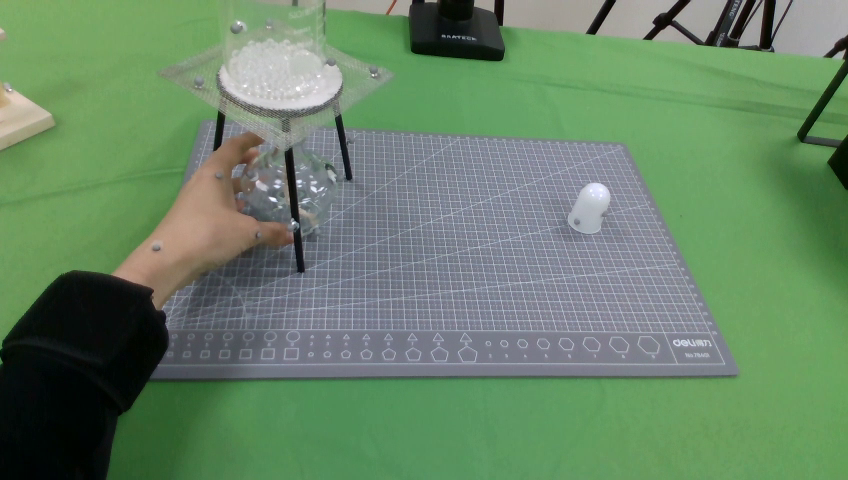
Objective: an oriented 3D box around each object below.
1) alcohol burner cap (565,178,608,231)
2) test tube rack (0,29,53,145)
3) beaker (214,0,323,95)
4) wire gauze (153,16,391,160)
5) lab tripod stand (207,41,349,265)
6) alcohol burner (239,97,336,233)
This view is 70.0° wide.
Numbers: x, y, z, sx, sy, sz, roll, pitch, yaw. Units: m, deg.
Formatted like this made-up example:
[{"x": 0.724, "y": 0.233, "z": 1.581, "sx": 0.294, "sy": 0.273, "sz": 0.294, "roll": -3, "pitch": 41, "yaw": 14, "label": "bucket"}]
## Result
[{"x": 0.152, "y": -0.035, "z": 0.558, "sx": 0.034, "sy": 0.048, "sz": 0.033, "roll": 4, "pitch": 45, "yaw": -4, "label": "alcohol burner cap"}, {"x": -0.441, "y": -0.091, "z": 0.479, "sx": 0.066, "sy": 0.086, "sz": 0.242, "roll": 30, "pitch": 49, "yaw": 19, "label": "test tube rack"}, {"x": -0.104, "y": -0.154, "z": 0.402, "sx": 0.073, "sy": 0.101, "sz": 0.084, "roll": 31, "pitch": 50, "yaw": 19, "label": "beaker"}, {"x": -0.106, "y": -0.120, "z": 0.437, "sx": 0.124, "sy": 0.011, "sz": 0.121, "roll": 33, "pitch": 52, "yaw": 15, "label": "wire gauze"}, {"x": -0.112, "y": -0.075, "z": 0.484, "sx": 0.149, "sy": 0.132, "sz": 0.147, "roll": 6, "pitch": 46, "yaw": -6, "label": "lab tripod stand"}, {"x": -0.109, "y": -0.063, "z": 0.487, "sx": 0.078, "sy": 0.120, "sz": 0.077, "roll": 7, "pitch": 45, "yaw": -6, "label": "alcohol burner"}]
